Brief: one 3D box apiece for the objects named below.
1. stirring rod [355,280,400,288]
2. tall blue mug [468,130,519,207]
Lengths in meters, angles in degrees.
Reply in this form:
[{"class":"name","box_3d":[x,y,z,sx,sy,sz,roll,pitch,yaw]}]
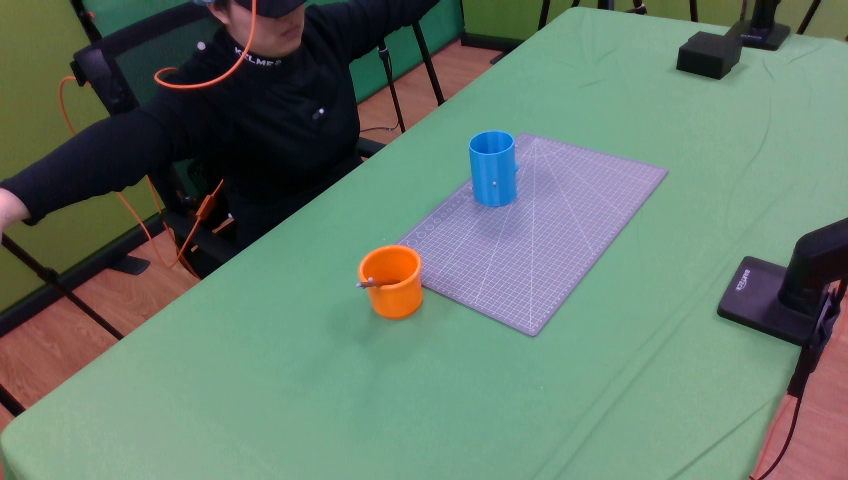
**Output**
[{"class":"stirring rod","box_3d":[-0.062,0.060,0.833,0.014,0.006,0.177,6,-1,12]},{"class":"tall blue mug","box_3d":[0.114,-0.131,1.045,0.078,0.108,0.106,-20,41,-11]}]
